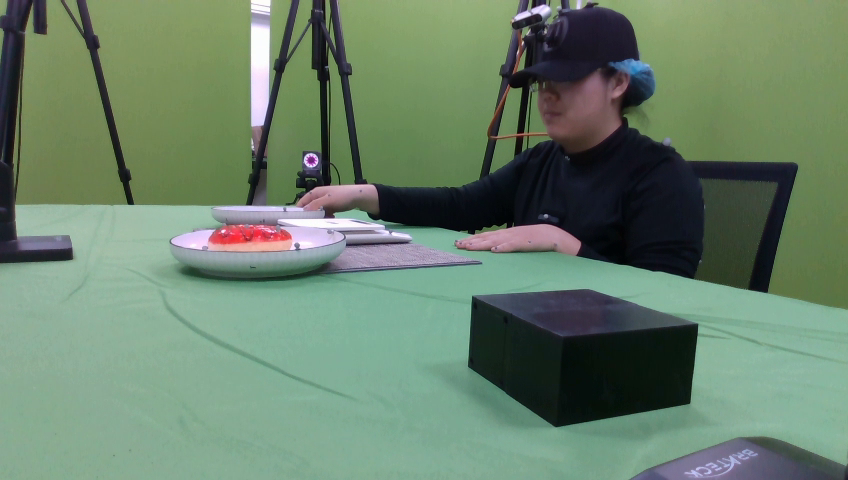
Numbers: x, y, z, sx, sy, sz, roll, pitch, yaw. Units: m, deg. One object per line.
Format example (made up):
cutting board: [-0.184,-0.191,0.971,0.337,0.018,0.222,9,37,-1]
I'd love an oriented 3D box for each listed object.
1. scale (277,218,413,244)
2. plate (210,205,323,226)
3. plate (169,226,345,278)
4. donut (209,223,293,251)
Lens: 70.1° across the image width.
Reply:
scale: [-0.134,-0.016,1.015,0.202,0.031,0.148,-1,9,-33]
plate: [-0.298,-0.043,1.152,0.208,0.039,0.207,2,5,0]
plate: [-0.202,0.014,0.748,0.209,0.038,0.209,1,9,0]
donut: [-0.210,0.004,0.738,0.099,0.048,0.099,0,8,0]
